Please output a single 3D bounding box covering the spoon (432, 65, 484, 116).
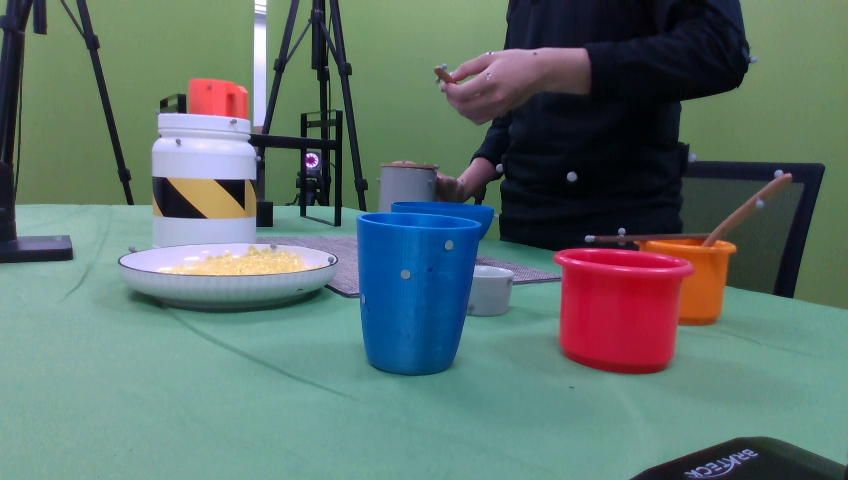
[{"bbox_3d":[0.045,-0.210,0.857,0.041,0.021,0.194,2,-9,21],"label":"spoon"}]

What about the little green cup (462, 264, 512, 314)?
[{"bbox_3d":[0.053,0.047,0.580,0.061,0.038,0.061,3,8,0],"label":"little green cup"}]

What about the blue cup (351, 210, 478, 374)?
[{"bbox_3d":[-0.009,0.034,0.414,0.093,0.100,0.092,4,8,0],"label":"blue cup"}]

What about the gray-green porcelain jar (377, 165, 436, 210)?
[{"bbox_3d":[-0.034,-0.073,1.128,0.106,0.126,0.106,4,4,0],"label":"gray-green porcelain jar"}]

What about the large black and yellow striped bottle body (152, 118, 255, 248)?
[{"bbox_3d":[-0.296,-0.070,0.819,0.131,0.184,0.130,2,7,0],"label":"large black and yellow striped bottle body"}]

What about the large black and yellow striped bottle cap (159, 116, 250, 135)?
[{"bbox_3d":[-0.292,-0.153,0.810,0.115,0.019,0.115,3,9,0],"label":"large black and yellow striped bottle cap"}]

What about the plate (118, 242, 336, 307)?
[{"bbox_3d":[-0.194,0.033,0.615,0.209,0.038,0.209,2,7,0],"label":"plate"}]

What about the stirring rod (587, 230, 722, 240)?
[{"bbox_3d":[0.227,-0.005,0.585,0.177,0.006,0.014,-2,7,-28],"label":"stirring rod"}]

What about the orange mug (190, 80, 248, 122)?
[{"bbox_3d":[-0.394,-0.257,1.173,0.126,0.100,0.084,1,6,25],"label":"orange mug"}]

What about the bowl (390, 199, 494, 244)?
[{"bbox_3d":[0.024,-0.015,0.871,0.151,0.077,0.151,3,7,0],"label":"bowl"}]

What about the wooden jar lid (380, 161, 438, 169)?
[{"bbox_3d":[-0.029,-0.134,1.124,0.108,0.020,0.108,3,5,0],"label":"wooden jar lid"}]

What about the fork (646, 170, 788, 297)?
[{"bbox_3d":[0.256,0.004,0.543,0.028,0.018,0.207,3,-36,-9],"label":"fork"}]
